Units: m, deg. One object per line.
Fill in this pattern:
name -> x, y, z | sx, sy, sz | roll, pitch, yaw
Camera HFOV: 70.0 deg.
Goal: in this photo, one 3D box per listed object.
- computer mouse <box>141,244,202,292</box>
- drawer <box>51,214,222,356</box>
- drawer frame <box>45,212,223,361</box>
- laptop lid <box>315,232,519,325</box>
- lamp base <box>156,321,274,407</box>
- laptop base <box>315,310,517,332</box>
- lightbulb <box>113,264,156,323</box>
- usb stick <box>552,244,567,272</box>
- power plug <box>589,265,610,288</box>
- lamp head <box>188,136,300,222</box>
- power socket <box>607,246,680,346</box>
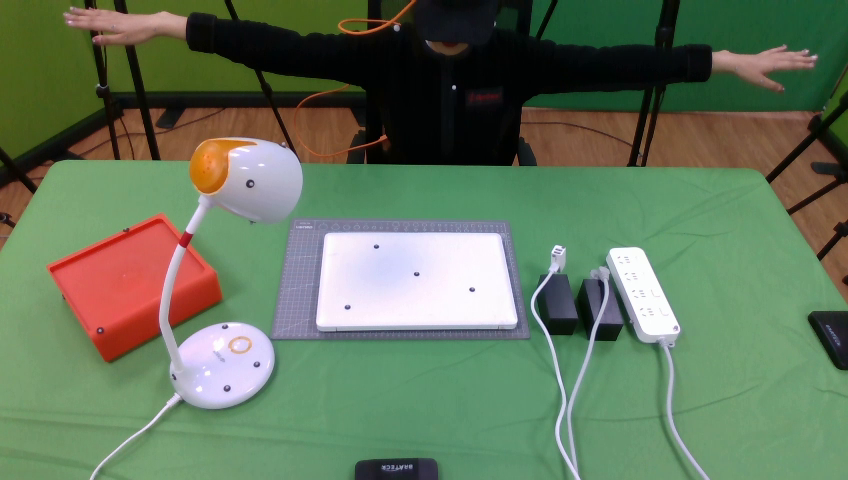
computer mouse -> -0.460, 0.044, 1.099 | 0.116, 0.041, 0.063 | 29, 52, 29
drawer -> -0.495, 0.072, 1.053 | 0.212, 0.073, 0.193 | -32, 57, -29
drawer frame -> -0.496, 0.073, 1.049 | 0.213, 0.083, 0.200 | -33, 56, -29
laptop lid -> -0.015, 0.065, 1.118 | 0.357, 0.013, 0.240 | 1, 43, -3
lamp base -> -0.328, 0.151, 0.916 | 0.160, 0.181, 0.179 | 29, 53, 22
laptop base -> -0.016, 0.075, 1.125 | 0.355, 0.023, 0.234 | 0, 42, -4
lightbulb -> -0.494, 0.090, 1.045 | 0.059, 0.060, 0.107 | 9, 62, 5
usb stick -> 0.251, 0.039, 1.123 | 0.021, 0.059, 0.027 | 14, 47, 24
power plug -> 0.318, 0.073, 1.108 | 0.035, 0.053, 0.072 | 26, 34, 13
lamp head -> -0.240, -0.081, 0.773 | 0.112, 0.112, 0.123 | 35, 15, 26
power socket -> 0.403, 0.096, 1.123 | 0.072, 0.033, 0.225 | -2, 46, -5
